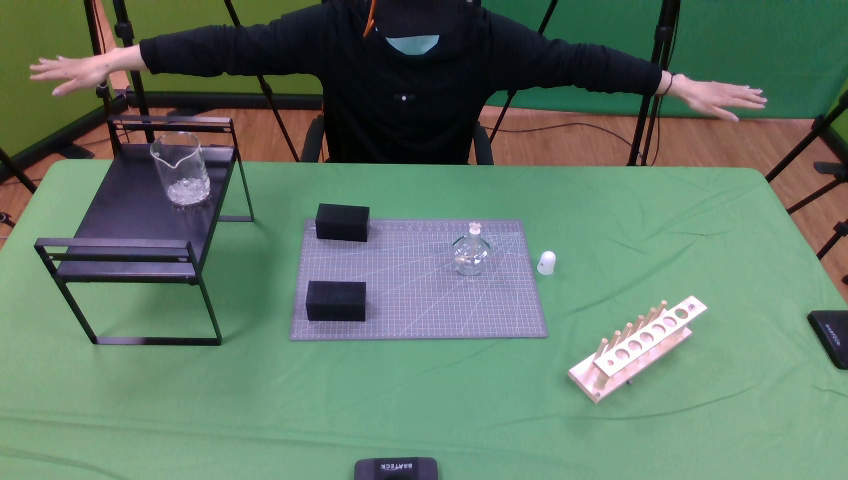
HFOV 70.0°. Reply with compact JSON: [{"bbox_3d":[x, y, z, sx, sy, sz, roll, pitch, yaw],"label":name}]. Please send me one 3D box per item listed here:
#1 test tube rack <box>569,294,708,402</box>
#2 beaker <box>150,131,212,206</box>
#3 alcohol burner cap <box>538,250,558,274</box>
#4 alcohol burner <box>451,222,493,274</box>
[{"bbox_3d":[0.360,0.167,1.014,0.242,0.085,0.066,-25,52,-25],"label":"test tube rack"},{"bbox_3d":[-0.385,-0.110,0.969,0.074,0.101,0.083,-6,48,-9],"label":"beaker"},{"bbox_3d":[0.238,0.039,1.159,0.034,0.048,0.033,3,46,-3],"label":"alcohol burner cap"},{"bbox_3d":[0.091,0.008,1.124,0.078,0.119,0.077,2,48,-2],"label":"alcohol burner"}]
